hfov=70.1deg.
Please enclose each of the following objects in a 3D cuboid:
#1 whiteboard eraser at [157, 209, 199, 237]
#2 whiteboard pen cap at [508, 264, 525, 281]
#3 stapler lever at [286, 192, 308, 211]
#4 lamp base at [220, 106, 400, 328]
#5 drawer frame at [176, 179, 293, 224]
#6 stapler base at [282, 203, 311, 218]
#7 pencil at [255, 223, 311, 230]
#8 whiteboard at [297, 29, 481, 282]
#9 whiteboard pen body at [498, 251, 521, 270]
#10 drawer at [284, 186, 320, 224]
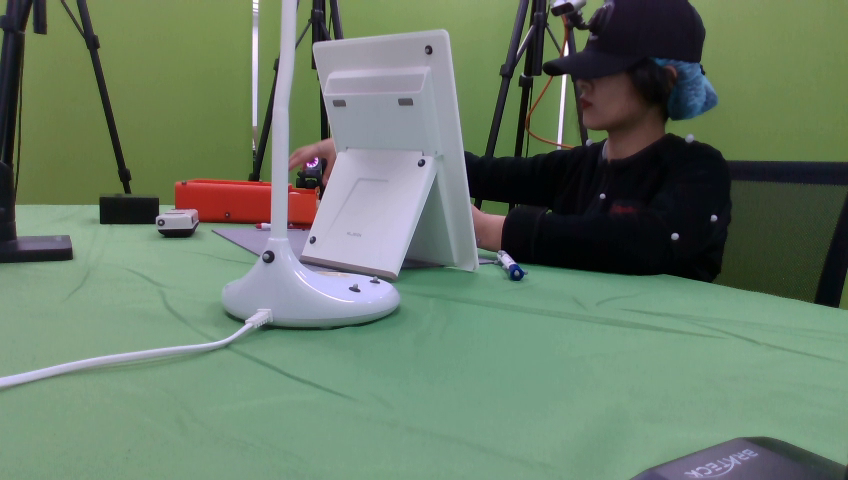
[{"bbox_3d":[-0.411,-0.029,1.016,0.056,0.042,0.112,2,7,-16],"label":"whiteboard eraser"},{"bbox_3d":[0.115,0.039,0.752,0.018,0.018,0.033,2,10,0],"label":"whiteboard pen cap"},{"bbox_3d":[-0.276,-0.089,1.320,0.027,0.040,0.118,8,10,-2],"label":"stapler lever"},{"bbox_3d":[-0.101,-0.023,0.531,0.160,0.180,0.179,4,10,10],"label":"lamp base"},{"bbox_3d":[-0.395,-0.086,1.299,0.214,0.082,0.201,1,8,-9],"label":"drawer frame"},{"bbox_3d":[-0.277,-0.067,1.322,0.041,0.024,0.130,8,7,-2],"label":"stapler base"},{"bbox_3d":[-0.216,-0.022,1.134,0.195,0.012,0.012,2,7,-22],"label":"pencil"},{"bbox_3d":[-0.075,-0.082,0.741,0.216,0.305,0.144,9,29,37],"label":"whiteboard"},{"bbox_3d":[0.116,0.032,0.810,0.017,0.017,0.140,2,8,-1],"label":"whiteboard pen body"},{"bbox_3d":[-0.333,-0.082,1.310,0.212,0.073,0.194,1,8,-8],"label":"drawer"}]
